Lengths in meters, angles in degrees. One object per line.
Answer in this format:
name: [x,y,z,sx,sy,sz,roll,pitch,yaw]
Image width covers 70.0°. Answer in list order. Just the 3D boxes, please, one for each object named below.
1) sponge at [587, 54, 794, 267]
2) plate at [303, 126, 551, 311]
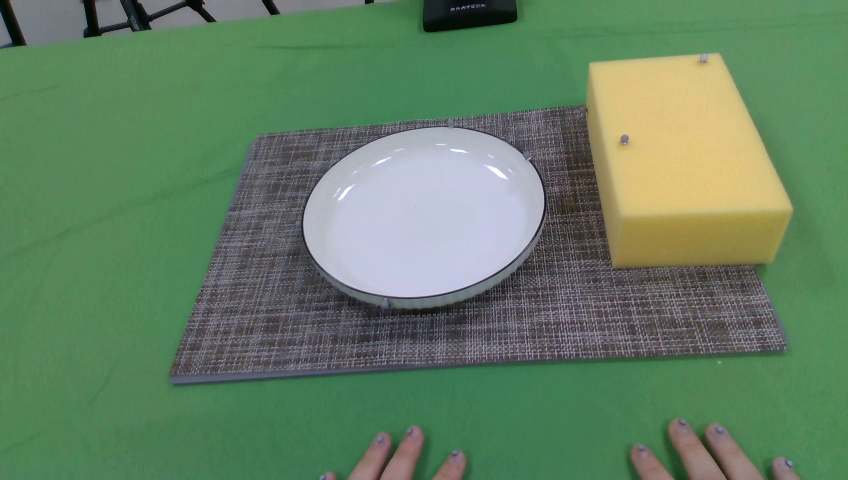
sponge: [0.210,-0.074,0.515,0.118,0.061,0.205,-3,47,8]
plate: [0.003,-0.019,0.519,0.207,0.039,0.205,-5,47,6]
